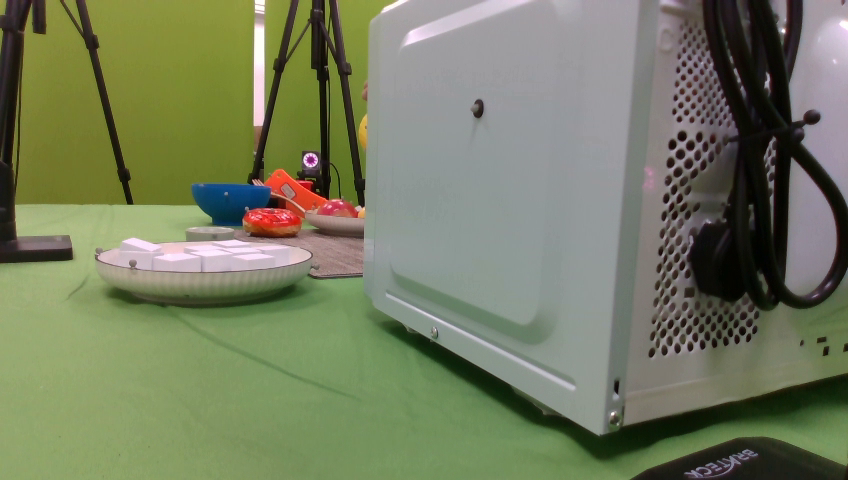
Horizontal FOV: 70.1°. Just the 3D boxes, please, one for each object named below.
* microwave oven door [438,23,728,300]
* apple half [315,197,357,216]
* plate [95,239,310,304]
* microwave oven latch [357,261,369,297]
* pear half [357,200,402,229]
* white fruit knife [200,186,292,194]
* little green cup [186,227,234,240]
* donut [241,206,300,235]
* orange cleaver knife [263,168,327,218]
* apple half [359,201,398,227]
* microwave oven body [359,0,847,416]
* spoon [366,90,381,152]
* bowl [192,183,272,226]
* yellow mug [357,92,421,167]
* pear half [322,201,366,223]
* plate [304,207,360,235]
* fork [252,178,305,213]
[{"bbox_3d":[0.181,-0.072,0.621,0.358,0.243,0.039,-2,8,-29],"label":"microwave oven door"},{"bbox_3d":[-0.162,-0.052,1.121,0.081,0.053,0.074,4,8,-14],"label":"apple half"},{"bbox_3d":[-0.224,0.031,0.629,0.208,0.039,0.207,2,8,0],"label":"plate"},{"bbox_3d":[-0.019,0.033,0.530,0.079,0.029,0.030,-1,7,-26],"label":"microwave oven latch"},{"bbox_3d":[-0.074,-0.046,1.132,0.076,0.056,0.110,12,6,32],"label":"pear half"},{"bbox_3d":[-0.399,-0.111,1.368,0.208,0.016,0.027,-4,-19,-30],"label":"white fruit knife"},{"bbox_3d":[-0.285,0.005,0.805,0.061,0.038,0.061,2,8,0],"label":"little green cup"},{"bbox_3d":[-0.263,-0.032,1.039,0.099,0.048,0.099,4,10,0],"label":"donut"},{"bbox_3d":[-0.262,-0.088,1.353,0.211,0.077,0.012,28,13,-1],"label":"orange cleaver knife"},{"bbox_3d":[-0.088,-0.058,1.191,0.081,0.033,0.081,9,30,-5],"label":"apple half"},{"bbox_3d":[0.211,-0.047,0.474,0.444,0.260,0.324,-1,7,-28],"label":"microwave oven body"},{"bbox_3d":[-0.093,-0.231,1.150,0.021,0.042,0.193,-24,42,22],"label":"spoon"},{"bbox_3d":[-0.381,-0.071,1.202,0.151,0.077,0.151,3,7,0],"label":"bowl"},{"bbox_3d":[-0.065,-0.202,1.079,0.100,0.131,0.063,-20,35,-15],"label":"yellow mug"},{"bbox_3d":[-0.157,-0.059,1.197,0.088,0.031,0.070,12,30,-4],"label":"pear half"},{"bbox_3d":[-0.123,-0.037,1.149,0.209,0.038,0.209,2,7,0],"label":"plate"},{"bbox_3d":[-0.295,-0.084,1.292,0.206,0.018,0.028,29,10,25],"label":"fork"}]
